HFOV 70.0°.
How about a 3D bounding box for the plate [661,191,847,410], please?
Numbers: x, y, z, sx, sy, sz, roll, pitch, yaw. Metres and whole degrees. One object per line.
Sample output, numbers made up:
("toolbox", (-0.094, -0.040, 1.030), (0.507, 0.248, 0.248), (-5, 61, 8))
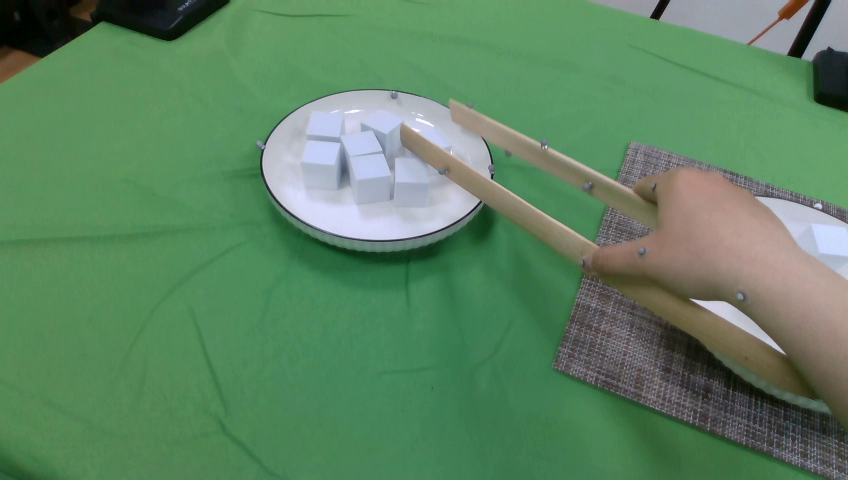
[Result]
("plate", (0.293, 0.045, 0.490), (0.208, 0.039, 0.205), (3, 49, -3))

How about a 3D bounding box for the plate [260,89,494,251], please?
("plate", (-0.041, -0.064, 0.557), (0.209, 0.038, 0.207), (3, 48, -3))

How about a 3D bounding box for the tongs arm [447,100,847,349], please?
("tongs arm", (0.135, -0.023, 0.455), (0.051, 0.027, 0.381), (-34, 50, -27))

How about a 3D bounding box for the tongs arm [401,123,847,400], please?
("tongs arm", (0.108, -0.006, 0.440), (0.028, 0.028, 0.383), (-31, 48, -29))
